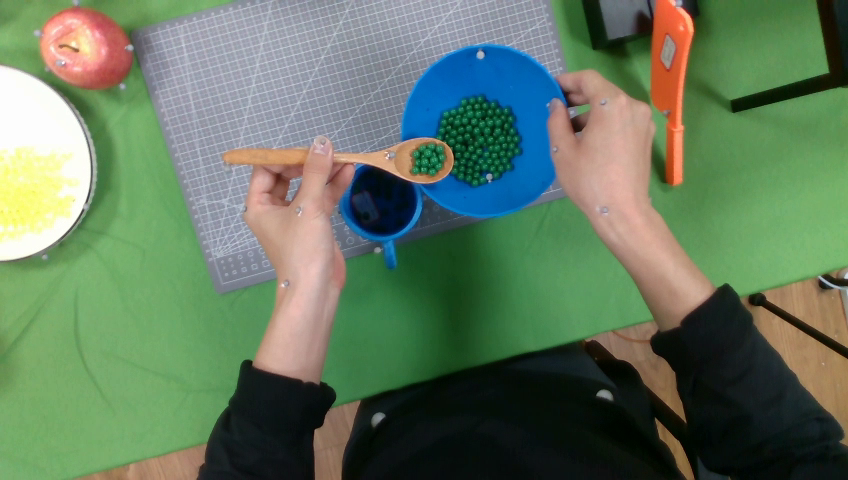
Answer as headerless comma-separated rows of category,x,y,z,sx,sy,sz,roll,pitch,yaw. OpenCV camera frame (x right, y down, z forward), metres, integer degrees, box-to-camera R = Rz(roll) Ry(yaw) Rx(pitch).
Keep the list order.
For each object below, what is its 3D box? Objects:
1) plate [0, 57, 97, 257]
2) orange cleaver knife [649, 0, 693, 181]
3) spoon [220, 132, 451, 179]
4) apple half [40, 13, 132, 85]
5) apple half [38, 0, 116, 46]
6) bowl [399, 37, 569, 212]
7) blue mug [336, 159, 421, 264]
plate,-0.451,-0.087,0.642,0.209,0.038,0.209,0,97,-3
orange cleaver knife,0.262,-0.164,0.653,0.012,0.076,0.213,-17,128,-2
spoon,-0.070,-0.073,0.511,0.194,0.021,0.041,-2,96,-21
apple half,-0.336,-0.188,0.621,0.081,0.074,0.053,-31,101,-3
apple half,-0.356,-0.221,0.615,0.081,0.081,0.033,-30,102,0
bowl,0.058,-0.104,0.564,0.151,0.077,0.151,2,99,11
blue mug,-0.044,-0.033,0.637,0.082,0.105,0.116,-8,96,-3
